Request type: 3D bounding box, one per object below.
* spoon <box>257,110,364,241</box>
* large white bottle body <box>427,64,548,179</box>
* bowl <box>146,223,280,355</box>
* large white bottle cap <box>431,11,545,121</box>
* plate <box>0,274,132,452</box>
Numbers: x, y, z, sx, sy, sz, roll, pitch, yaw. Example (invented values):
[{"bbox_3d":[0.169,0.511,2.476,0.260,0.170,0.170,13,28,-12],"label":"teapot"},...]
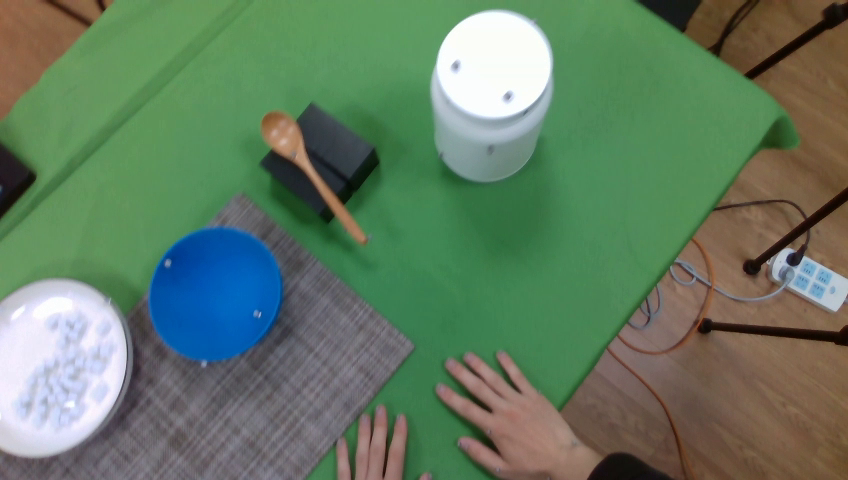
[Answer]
[{"bbox_3d":[-0.134,-0.075,0.724,0.041,0.022,0.193,-37,85,-10],"label":"spoon"},{"bbox_3d":[0.070,-0.157,0.692,0.130,0.185,0.130,-1,78,3],"label":"large white bottle body"},{"bbox_3d":[-0.235,0.061,0.715,0.151,0.077,0.150,-1,79,3],"label":"bowl"},{"bbox_3d":[0.065,-0.176,0.609,0.115,0.018,0.114,0,78,2],"label":"large white bottle cap"},{"bbox_3d":[-0.448,0.146,0.731,0.209,0.038,0.208,-1,77,5],"label":"plate"}]
